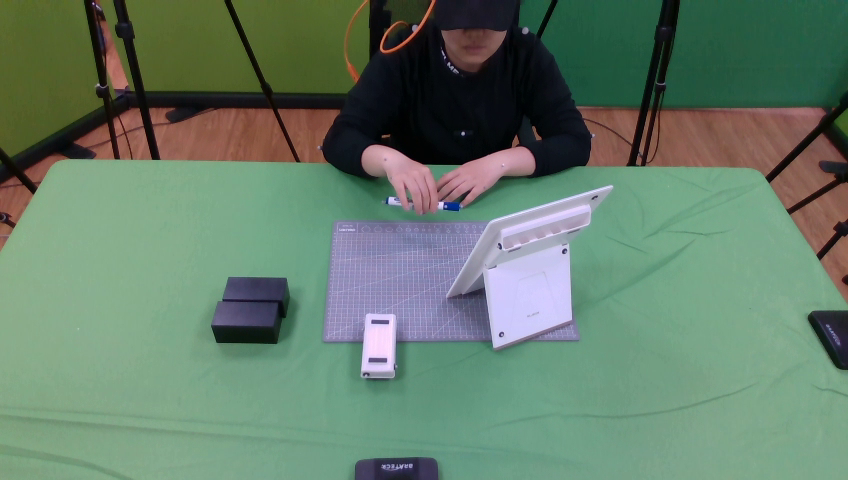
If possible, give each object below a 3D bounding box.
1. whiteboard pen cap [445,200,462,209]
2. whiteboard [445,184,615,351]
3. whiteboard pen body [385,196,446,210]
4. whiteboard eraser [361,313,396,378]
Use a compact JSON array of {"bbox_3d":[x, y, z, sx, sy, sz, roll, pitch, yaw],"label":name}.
[{"bbox_3d":[0.057,-0.068,1.171,0.033,0.018,0.018,-6,43,-38],"label":"whiteboard pen cap"},{"bbox_3d":[0.187,0.065,0.989,0.217,0.306,0.143,-15,68,-18],"label":"whiteboard"},{"bbox_3d":[-0.005,-0.071,1.175,0.141,0.017,0.017,6,46,2],"label":"whiteboard pen body"},{"bbox_3d":[-0.075,0.176,1.006,0.055,0.042,0.112,3,50,-4],"label":"whiteboard eraser"}]
